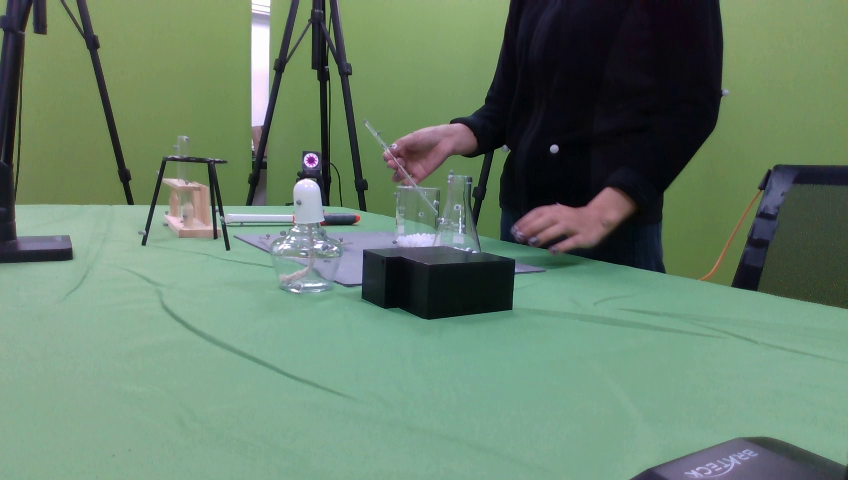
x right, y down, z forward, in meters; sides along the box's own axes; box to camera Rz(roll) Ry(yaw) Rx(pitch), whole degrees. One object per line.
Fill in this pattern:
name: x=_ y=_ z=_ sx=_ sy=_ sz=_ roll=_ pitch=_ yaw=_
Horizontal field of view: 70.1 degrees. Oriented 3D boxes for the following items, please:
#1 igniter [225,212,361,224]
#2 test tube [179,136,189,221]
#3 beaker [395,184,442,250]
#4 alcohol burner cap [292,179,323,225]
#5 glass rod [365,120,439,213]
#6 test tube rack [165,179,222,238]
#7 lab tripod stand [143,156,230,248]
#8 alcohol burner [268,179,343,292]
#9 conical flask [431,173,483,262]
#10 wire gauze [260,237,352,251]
igniter: x=-0.262 y=-0.045 z=1.240 sx=0.278 sy=0.025 sz=0.057 roll=-2 pitch=-1 yaw=-31
test tube: x=-0.425 y=-0.108 z=1.070 sx=0.017 sy=0.150 sz=0.017 roll=4 pitch=9 yaw=0
beaker: x=-0.009 y=-0.038 z=0.968 sx=0.074 sy=0.100 sz=0.084 roll=6 pitch=8 yaw=21
alcohol burner cap: x=-0.124 y=-0.040 z=0.632 sx=0.034 sy=0.048 sz=0.034 roll=-3 pitch=10 yaw=1
glass rod: x=-0.036 y=-0.121 z=0.978 sx=0.008 sy=0.199 sz=0.008 roll=-36 pitch=-12 yaw=-9
test tube rack: x=-0.423 y=-0.062 z=1.098 sx=0.067 sy=0.085 sz=0.241 roll=-2 pitch=9 yaw=-28
lab tripod stand: x=-0.338 y=-0.058 z=0.908 sx=0.148 sy=0.131 sz=0.148 roll=4 pitch=7 yaw=0
alcohol burner: x=-0.124 y=-0.005 z=0.637 sx=0.078 sy=0.119 sz=0.078 roll=4 pitch=8 yaw=0
conical flask: x=0.049 y=-0.033 z=0.857 sx=0.075 sy=0.122 sz=0.075 roll=2 pitch=7 yaw=0
wire gauze: x=-0.184 y=0.004 z=0.938 sx=0.122 sy=0.011 sz=0.124 roll=-1 pitch=5 yaw=-24
